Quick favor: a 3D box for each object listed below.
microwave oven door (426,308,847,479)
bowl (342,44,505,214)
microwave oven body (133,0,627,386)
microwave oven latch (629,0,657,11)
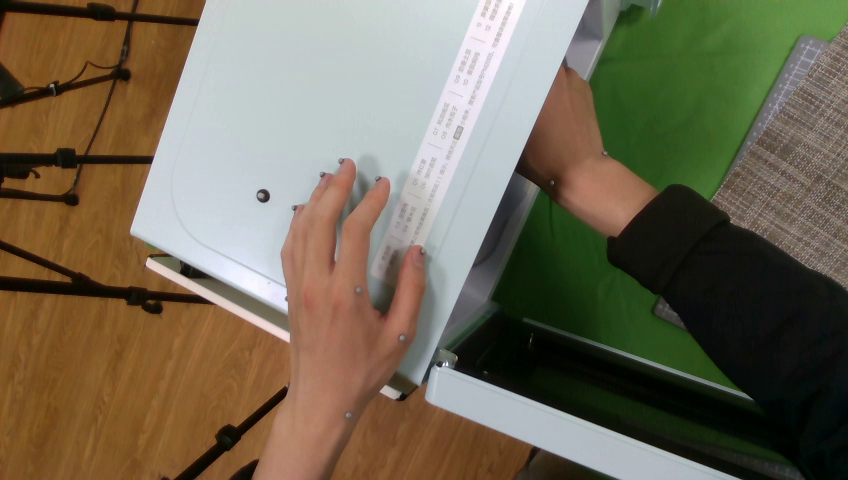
[{"bbox_3d":[0.199,0.146,0.500,0.354,0.244,0.039,17,98,15],"label":"microwave oven door"},{"bbox_3d":[0.007,-0.100,0.574,0.151,0.077,0.151,1,94,15],"label":"bowl"},{"bbox_3d":[-0.005,-0.155,0.542,0.325,0.260,0.442,25,101,13],"label":"microwave oven body"},{"bbox_3d":[0.220,-0.261,0.570,0.030,0.029,0.079,25,101,13],"label":"microwave oven latch"}]
